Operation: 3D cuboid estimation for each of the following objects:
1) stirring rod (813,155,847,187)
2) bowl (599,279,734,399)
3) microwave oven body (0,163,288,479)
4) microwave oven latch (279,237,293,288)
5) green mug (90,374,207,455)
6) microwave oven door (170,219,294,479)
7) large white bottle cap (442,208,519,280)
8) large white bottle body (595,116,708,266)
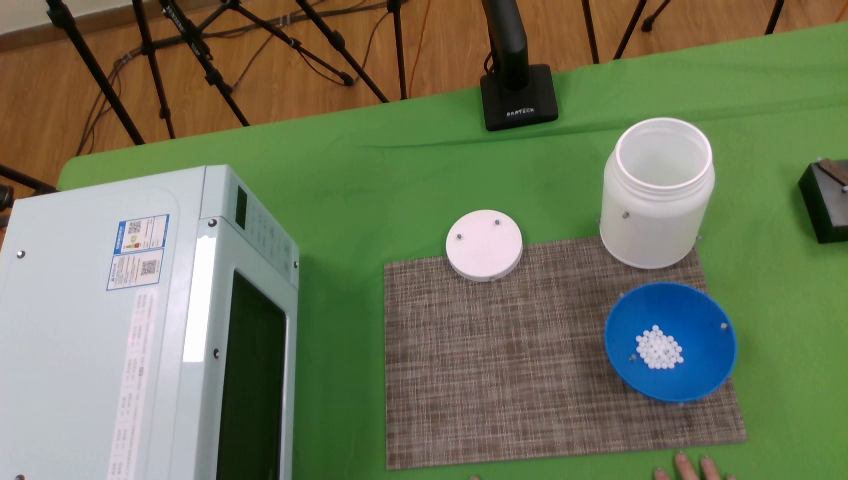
[{"bbox_3d":[0.577,-0.053,0.776,0.174,0.006,0.014,49,116,27],"label":"stirring rod"},{"bbox_3d":[0.296,0.132,0.760,0.151,0.077,0.150,-5,63,10],"label":"bowl"},{"bbox_3d":[-0.366,0.171,0.779,0.326,0.262,0.438,-9,63,7],"label":"microwave oven body"},{"bbox_3d":[-0.215,0.035,0.924,0.030,0.030,0.078,-8,63,7],"label":"microwave oven latch"},{"bbox_3d":[-0.343,0.217,0.776,0.125,0.106,0.091,-18,63,-3],"label":"green mug"},{"bbox_3d":[-0.221,0.183,0.736,0.039,0.246,0.352,-9,62,8],"label":"microwave oven door"},{"bbox_3d":[0.084,0.005,0.903,0.114,0.018,0.114,-5,62,9],"label":"large white bottle cap"},{"bbox_3d":[0.294,-0.062,0.795,0.130,0.186,0.129,-6,59,10],"label":"large white bottle body"}]
